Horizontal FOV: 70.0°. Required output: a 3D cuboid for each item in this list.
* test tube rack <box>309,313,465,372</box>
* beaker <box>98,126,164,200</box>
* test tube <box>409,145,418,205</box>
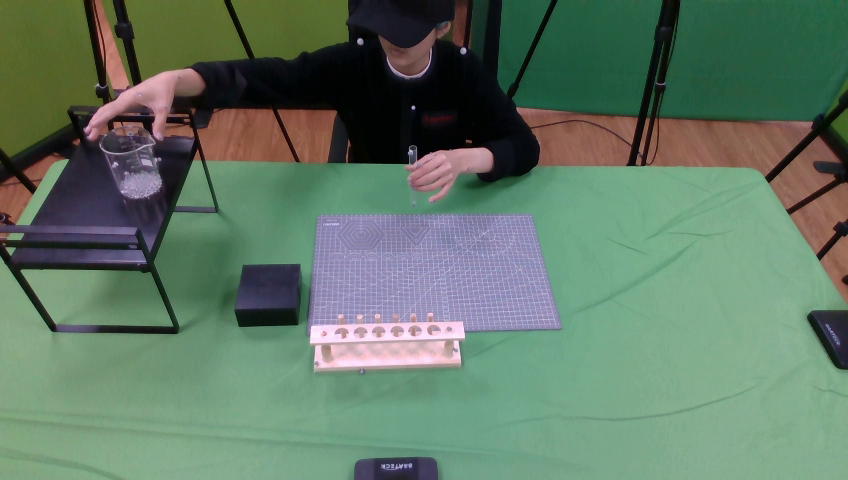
[{"bbox_3d":[-0.059,0.161,0.990,0.242,0.085,0.066,-1,46,-5],"label":"test tube rack"},{"bbox_3d":[-0.464,-0.122,0.977,0.084,0.101,0.073,0,46,-5],"label":"beaker"},{"bbox_3d":[-0.019,-0.122,1.159,0.017,0.151,0.017,0,50,0],"label":"test tube"}]
